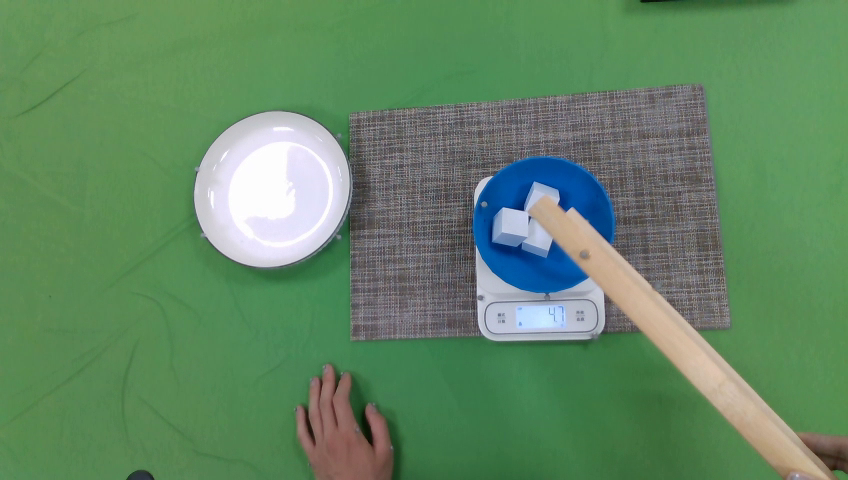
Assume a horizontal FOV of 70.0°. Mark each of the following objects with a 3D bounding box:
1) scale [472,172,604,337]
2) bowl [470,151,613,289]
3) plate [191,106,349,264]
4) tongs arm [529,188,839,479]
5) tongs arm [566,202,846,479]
[{"bbox_3d":[0.134,0.013,0.726,0.148,0.032,0.200,-3,80,7],"label":"scale"},{"bbox_3d":[0.127,-0.015,0.677,0.151,0.077,0.151,-1,81,6],"label":"bowl"},{"bbox_3d":[-0.195,-0.069,0.782,0.207,0.039,0.207,-1,80,7],"label":"plate"},{"bbox_3d":[0.222,0.096,0.494,0.028,0.028,0.384,-45,69,12],"label":"tongs arm"},{"bbox_3d":[0.245,0.101,0.534,0.026,0.051,0.381,-46,66,15],"label":"tongs arm"}]
